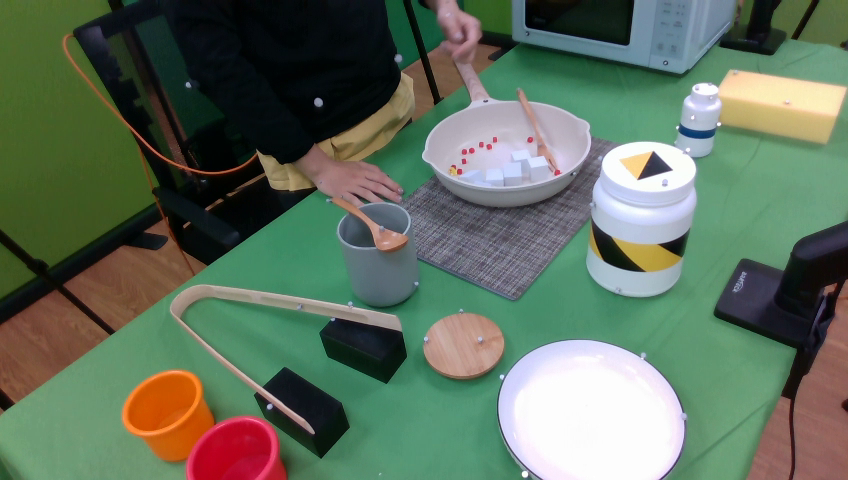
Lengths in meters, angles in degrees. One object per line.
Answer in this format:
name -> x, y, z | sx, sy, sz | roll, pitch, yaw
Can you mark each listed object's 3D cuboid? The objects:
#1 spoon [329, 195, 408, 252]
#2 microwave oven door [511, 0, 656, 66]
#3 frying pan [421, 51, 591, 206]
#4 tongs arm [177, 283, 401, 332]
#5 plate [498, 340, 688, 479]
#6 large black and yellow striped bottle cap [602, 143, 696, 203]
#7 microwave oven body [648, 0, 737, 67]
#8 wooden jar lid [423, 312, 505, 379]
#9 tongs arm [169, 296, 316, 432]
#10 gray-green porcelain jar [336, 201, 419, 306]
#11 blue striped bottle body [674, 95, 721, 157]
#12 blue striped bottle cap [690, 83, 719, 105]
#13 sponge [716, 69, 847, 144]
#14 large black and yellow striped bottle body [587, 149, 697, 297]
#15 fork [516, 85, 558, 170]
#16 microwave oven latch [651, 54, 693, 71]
spoon -> -0.082, -0.029, 0.828 | 0.042, 0.022, 0.192 | -31, 43, -21
microwave oven door -> 0.350, -0.539, 1.349 | 0.353, 0.245, 0.039 | 24, 50, 31
frying pan -> 0.127, -0.232, 1.155 | 0.307, 0.103, 0.484 | -11, 49, -5
tongs arm -> -0.199, 0.096, 0.823 | 0.382, 0.027, 0.051 | 7, 45, 34
plate -> 0.189, 0.206, 0.692 | 0.207, 0.039, 0.206 | -4, 40, 4
large black and yellow striped bottle cap -> 0.289, -0.088, 0.779 | 0.115, 0.019, 0.114 | -5, 39, 4
microwave oven body -> 0.475, -0.602, 1.411 | 0.438, 0.261, 0.327 | 23, 50, 32
wooden jar lid -> 0.053, 0.142, 0.800 | 0.108, 0.021, 0.108 | -4, 39, 4
tongs arm -> -0.248, 0.148, 0.775 | 0.384, 0.028, 0.028 | 21, 57, 44
gray-green porcelain jar -> -0.064, 0.024, 0.872 | 0.106, 0.127, 0.105 | -4, 41, 4
blue striped bottle body -> 0.486, -0.213, 1.071 | 0.063, 0.121, 0.063 | -4, 41, 4
blue striped bottle cap -> 0.481, -0.251, 1.038 | 0.044, 0.021, 0.044 | -5, 40, 5
sponge -> 0.663, -0.256, 1.142 | 0.205, 0.061, 0.118 | 19, 47, 28
large black and yellow striped bottle body -> 0.298, -0.026, 0.835 | 0.131, 0.185, 0.130 | -4, 41, 4
fork -> 0.208, -0.213, 1.134 | 0.028, 0.019, 0.206 | -16, 66, 1
microwave oven latch -> 0.531, -0.386, 1.301 | 0.078, 0.029, 0.030 | 26, 51, 33
